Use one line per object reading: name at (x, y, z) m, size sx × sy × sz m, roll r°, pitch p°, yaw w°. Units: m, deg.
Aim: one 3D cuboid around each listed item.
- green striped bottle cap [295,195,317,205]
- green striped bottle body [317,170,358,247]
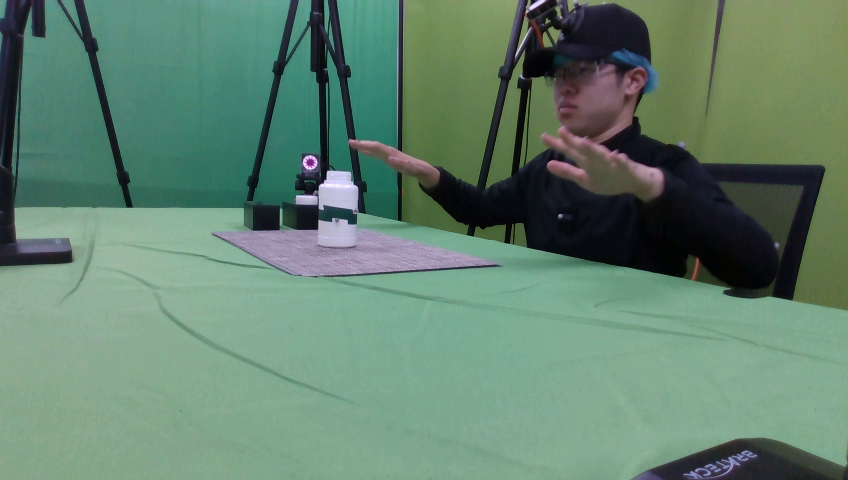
green striped bottle cap at (-0.240, -0.082, 1.228) m, size 0.044 × 0.020 × 0.044 m, roll 1°, pitch 5°, yaw 0°
green striped bottle body at (-0.138, -0.051, 0.964) m, size 0.063 × 0.119 × 0.063 m, roll 2°, pitch 7°, yaw 0°
